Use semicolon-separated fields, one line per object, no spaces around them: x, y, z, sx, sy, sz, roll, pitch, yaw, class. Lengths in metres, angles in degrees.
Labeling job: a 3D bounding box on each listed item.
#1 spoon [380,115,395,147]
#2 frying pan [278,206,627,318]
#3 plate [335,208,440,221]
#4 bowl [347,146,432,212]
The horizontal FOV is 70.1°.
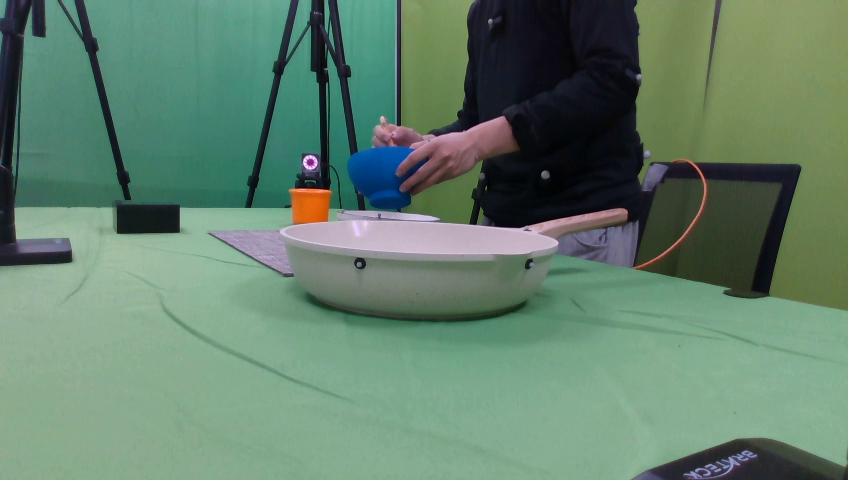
-0.054;-0.169;1.112;0.042;0.021;0.193;9;38;-35;spoon
0.079;0.002;0.705;0.490;0.102;0.305;-12;15;-33;frying pan
-0.073;-0.035;1.196;0.208;0.039;0.207;4;6;0;plate
-0.064;-0.098;1.061;0.151;0.076;0.151;4;-16;2;bowl
